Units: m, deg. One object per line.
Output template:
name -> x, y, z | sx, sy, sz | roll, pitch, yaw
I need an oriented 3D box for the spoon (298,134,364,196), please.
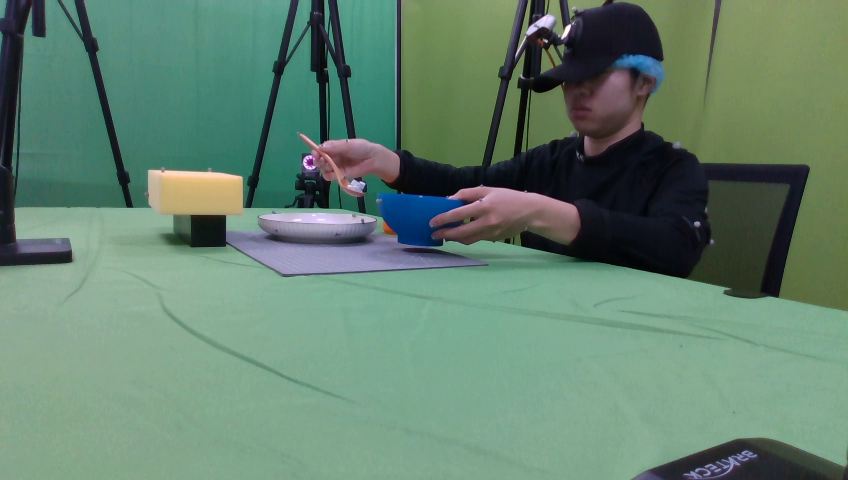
spoon -> -0.170, -0.136, 1.085 | 0.193, 0.021, 0.042 | 49, 22, 27

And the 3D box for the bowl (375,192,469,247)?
bowl -> -0.006, -0.032, 0.964 | 0.151, 0.077, 0.151 | 5, 5, 0

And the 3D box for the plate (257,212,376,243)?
plate -> -0.189, -0.023, 1.072 | 0.209, 0.038, 0.209 | 3, 7, 0

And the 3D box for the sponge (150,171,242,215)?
sponge -> -0.379, -0.079, 0.994 | 0.119, 0.061, 0.206 | -1, 8, -29
